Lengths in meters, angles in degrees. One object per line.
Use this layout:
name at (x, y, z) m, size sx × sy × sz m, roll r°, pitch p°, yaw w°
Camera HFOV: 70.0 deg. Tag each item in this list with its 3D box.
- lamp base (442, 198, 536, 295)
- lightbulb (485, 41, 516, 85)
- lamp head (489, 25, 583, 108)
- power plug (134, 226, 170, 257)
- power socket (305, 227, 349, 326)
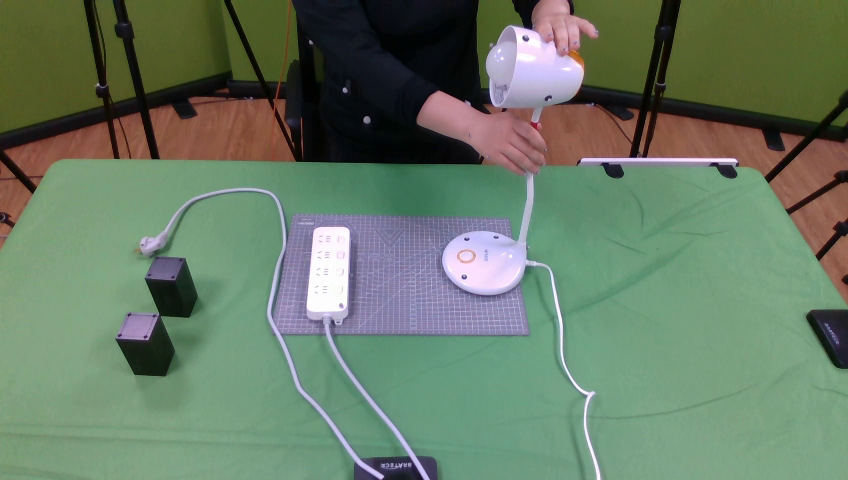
lamp base at (0.130, -0.012, 1.105) m, size 0.179 × 0.181 × 0.159 m, roll -1°, pitch 46°, yaw -9°
lightbulb at (0.140, -0.248, 0.862) m, size 0.108 × 0.060 × 0.059 m, roll 8°, pitch 45°, yaw -7°
lamp head at (0.162, -0.238, 0.869) m, size 0.123 × 0.113 × 0.111 m, roll 8°, pitch 44°, yaw -17°
power plug at (-0.515, 0.005, 1.152) m, size 0.052 × 0.035 × 0.072 m, roll -6°, pitch 24°, yaw 6°
power socket at (-0.177, 0.059, 1.115) m, size 0.072 × 0.033 × 0.225 m, roll -1°, pitch 46°, yaw -4°
